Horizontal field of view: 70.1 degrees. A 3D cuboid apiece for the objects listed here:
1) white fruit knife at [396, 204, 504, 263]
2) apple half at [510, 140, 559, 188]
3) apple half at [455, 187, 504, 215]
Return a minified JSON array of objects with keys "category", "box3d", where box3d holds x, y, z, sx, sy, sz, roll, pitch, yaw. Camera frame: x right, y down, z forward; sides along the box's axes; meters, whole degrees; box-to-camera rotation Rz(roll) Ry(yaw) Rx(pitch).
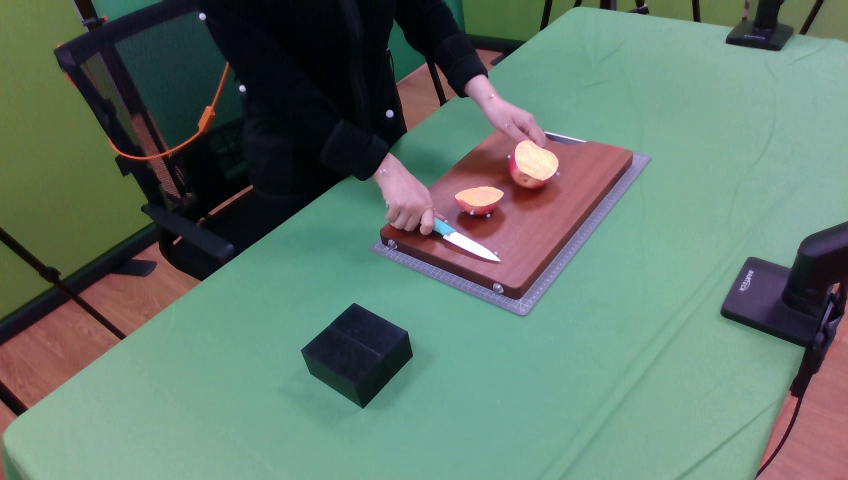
[{"category":"white fruit knife","box3d":[0.039,-0.011,0.947,0.206,0.016,0.027,30,57,30]},{"category":"apple half","box3d":[0.181,-0.121,1.023,0.081,0.053,0.074,25,54,-4]},{"category":"apple half","box3d":[0.094,-0.060,0.988,0.081,0.033,0.081,-4,24,2]}]
